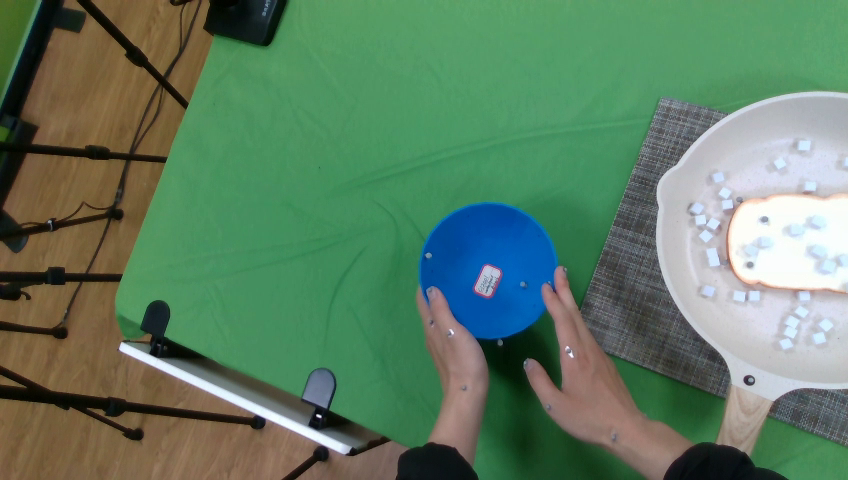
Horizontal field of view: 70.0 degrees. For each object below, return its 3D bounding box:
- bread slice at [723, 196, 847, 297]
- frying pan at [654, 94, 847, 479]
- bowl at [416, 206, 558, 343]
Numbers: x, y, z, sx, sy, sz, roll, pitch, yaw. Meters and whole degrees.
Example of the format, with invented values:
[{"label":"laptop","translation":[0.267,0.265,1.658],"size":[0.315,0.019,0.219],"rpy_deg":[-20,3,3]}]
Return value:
[{"label":"bread slice","translation":[0.389,0.008,0.638],"size":[0.134,0.018,0.106],"rpy_deg":[-2,81,14]},{"label":"frying pan","translation":[0.340,0.095,0.596],"size":[0.305,0.103,0.486],"rpy_deg":[23,80,19]},{"label":"bowl","translation":[0.071,0.044,0.679],"size":[0.151,0.077,0.150],"rpy_deg":[-2,77,7]}]
